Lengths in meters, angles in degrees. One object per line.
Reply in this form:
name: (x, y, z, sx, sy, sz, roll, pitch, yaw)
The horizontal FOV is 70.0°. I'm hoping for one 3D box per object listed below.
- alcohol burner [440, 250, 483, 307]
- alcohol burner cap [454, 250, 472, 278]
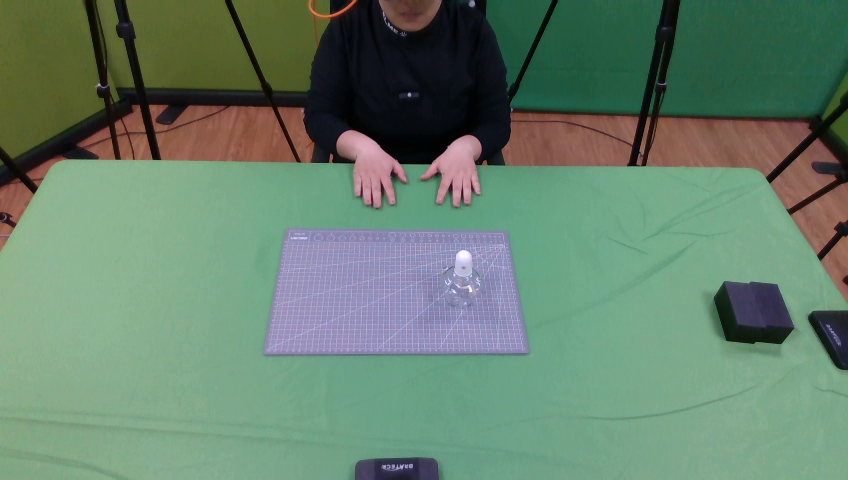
alcohol burner: (0.068, 0.064, 1.076, 0.078, 0.120, 0.077, 1, 45, -1)
alcohol burner cap: (0.068, 0.039, 1.049, 0.034, 0.048, 0.033, -2, 45, 2)
